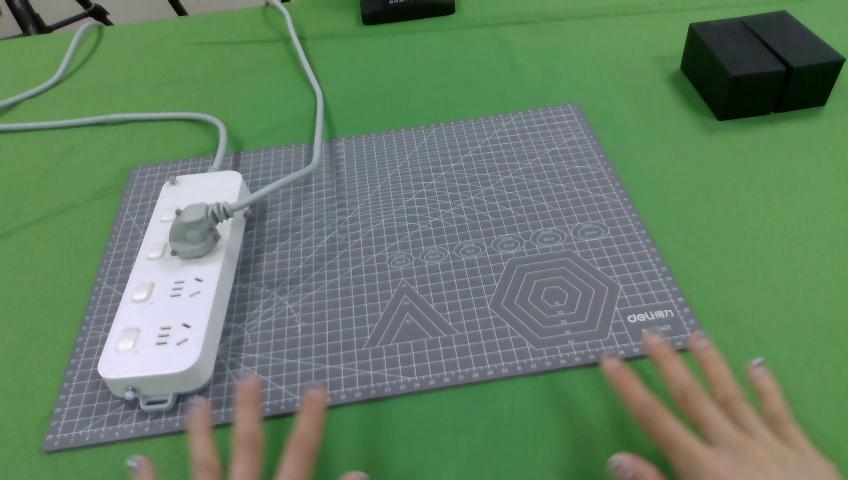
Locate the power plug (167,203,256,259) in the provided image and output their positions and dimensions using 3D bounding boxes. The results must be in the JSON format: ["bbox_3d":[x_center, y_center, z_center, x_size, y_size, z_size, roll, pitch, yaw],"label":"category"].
[{"bbox_3d":[-0.161,0.000,0.463,0.072,0.053,0.035,2,47,10],"label":"power plug"}]

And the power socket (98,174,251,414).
[{"bbox_3d":[-0.186,0.026,0.475,0.072,0.033,0.224,-4,46,0],"label":"power socket"}]
